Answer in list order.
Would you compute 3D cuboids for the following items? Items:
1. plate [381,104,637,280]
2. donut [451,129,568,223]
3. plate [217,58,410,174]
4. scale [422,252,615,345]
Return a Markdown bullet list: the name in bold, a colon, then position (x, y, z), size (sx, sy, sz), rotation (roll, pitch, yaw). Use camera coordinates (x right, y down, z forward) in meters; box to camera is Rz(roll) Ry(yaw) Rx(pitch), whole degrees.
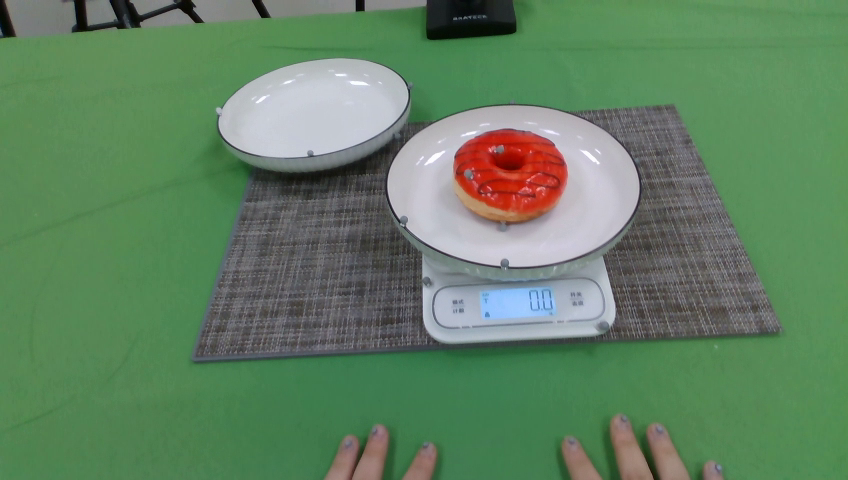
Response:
- **plate**: position (0.069, -0.041, 0.512), size (0.207, 0.039, 0.205), rotation (-2, 46, 3)
- **donut**: position (0.071, -0.054, 0.507), size (0.099, 0.049, 0.098), rotation (-1, 47, 1)
- **plate**: position (-0.118, -0.135, 0.666), size (0.209, 0.038, 0.207), rotation (-4, 44, 4)
- **scale**: position (0.072, -0.002, 0.519), size (0.148, 0.032, 0.199), rotation (-3, 46, 3)
